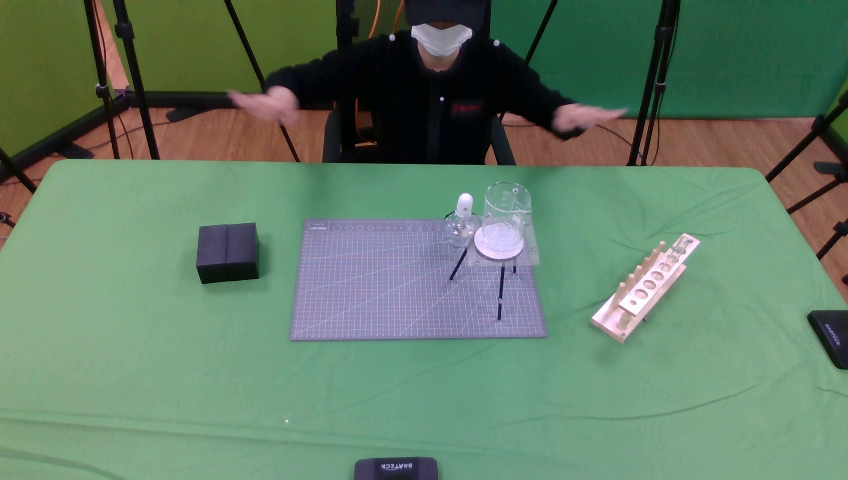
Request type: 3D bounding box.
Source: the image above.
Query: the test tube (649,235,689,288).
[{"bbox_3d":[0.432,0.043,1.073,0.017,0.151,0.017,3,51,-3],"label":"test tube"}]

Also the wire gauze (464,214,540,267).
[{"bbox_3d":[0.131,-0.001,1.035,0.121,0.011,0.124,1,44,-3],"label":"wire gauze"}]

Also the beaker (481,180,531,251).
[{"bbox_3d":[0.135,-0.036,1.001,0.083,0.101,0.074,30,53,24],"label":"beaker"}]

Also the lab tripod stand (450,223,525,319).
[{"bbox_3d":[0.120,0.046,1.080,0.148,0.132,0.147,1,47,-1],"label":"lab tripod stand"}]

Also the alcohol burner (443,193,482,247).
[{"bbox_3d":[0.075,-0.044,1.177,0.078,0.120,0.077,1,44,-1],"label":"alcohol burner"}]

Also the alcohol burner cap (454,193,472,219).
[{"bbox_3d":[0.076,-0.068,1.151,0.034,0.048,0.033,4,46,-4],"label":"alcohol burner cap"}]

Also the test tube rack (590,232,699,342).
[{"bbox_3d":[0.407,0.074,1.112,0.066,0.085,0.242,35,53,26],"label":"test tube rack"}]
